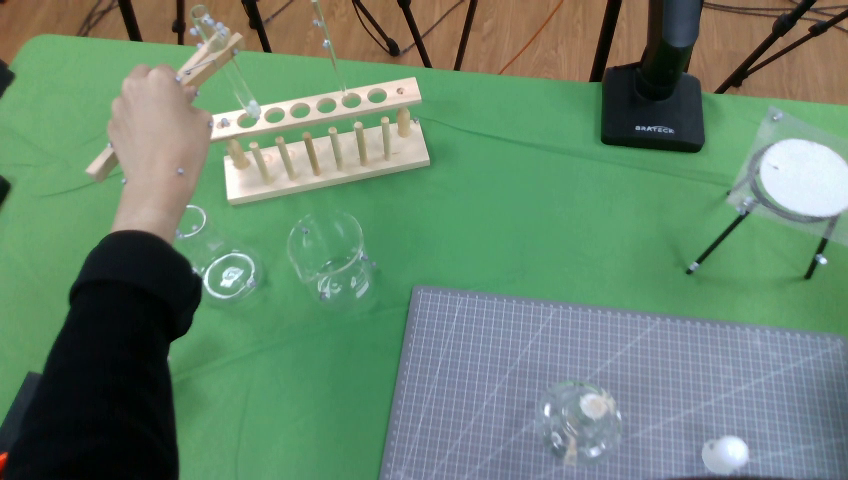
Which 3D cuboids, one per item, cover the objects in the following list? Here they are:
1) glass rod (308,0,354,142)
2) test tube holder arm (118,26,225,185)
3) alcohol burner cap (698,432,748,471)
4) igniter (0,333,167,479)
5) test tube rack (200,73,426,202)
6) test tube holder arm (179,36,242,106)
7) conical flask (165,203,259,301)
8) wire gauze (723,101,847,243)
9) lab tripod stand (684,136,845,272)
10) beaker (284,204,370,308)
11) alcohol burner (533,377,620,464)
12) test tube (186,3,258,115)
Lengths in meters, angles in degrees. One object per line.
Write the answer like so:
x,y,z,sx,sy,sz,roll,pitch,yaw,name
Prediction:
-0.097,-0.177,0.661,0.008,0.201,0.008,-4,55,6,glass rod
-0.209,-0.118,0.510,0.013,0.015,0.177,29,58,-16,test tube holder arm
0.274,0.190,0.551,0.034,0.048,0.033,-1,62,1,alcohol burner cap
-0.345,0.192,0.529,0.057,0.025,0.276,32,67,28,igniter
-0.123,-0.117,0.705,0.242,0.086,0.066,-12,62,-5,test tube rack
-0.191,-0.150,0.535,0.010,0.015,0.087,37,55,-12,test tube holder arm
-0.222,0.008,0.622,0.075,0.123,0.074,-1,62,2,conical flask
0.354,-0.062,0.556,0.121,0.011,0.124,27,67,13,wire gauze
0.349,-0.030,0.615,0.148,0.132,0.147,0,61,0,lab tripod stand
-0.097,0.024,0.623,0.073,0.101,0.083,20,65,13,beaker
0.138,0.155,0.534,0.078,0.120,0.077,0,61,0,alcohol burner
-0.183,-0.162,0.563,0.017,0.151,0.017,-1,69,3,test tube
